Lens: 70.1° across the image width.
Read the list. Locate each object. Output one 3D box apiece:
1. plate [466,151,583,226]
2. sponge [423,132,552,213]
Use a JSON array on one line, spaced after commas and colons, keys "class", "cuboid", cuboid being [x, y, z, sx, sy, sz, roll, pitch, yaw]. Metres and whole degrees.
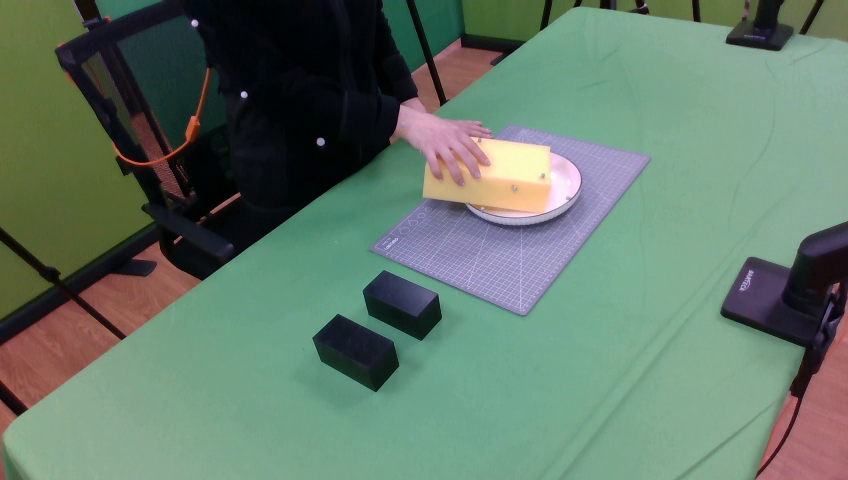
[{"class": "plate", "cuboid": [0.167, -0.089, 1.043, 0.209, 0.038, 0.208, -5, 40, 5]}, {"class": "sponge", "cuboid": [0.108, -0.116, 1.025, 0.207, 0.061, 0.118, 7, 43, 1]}]
